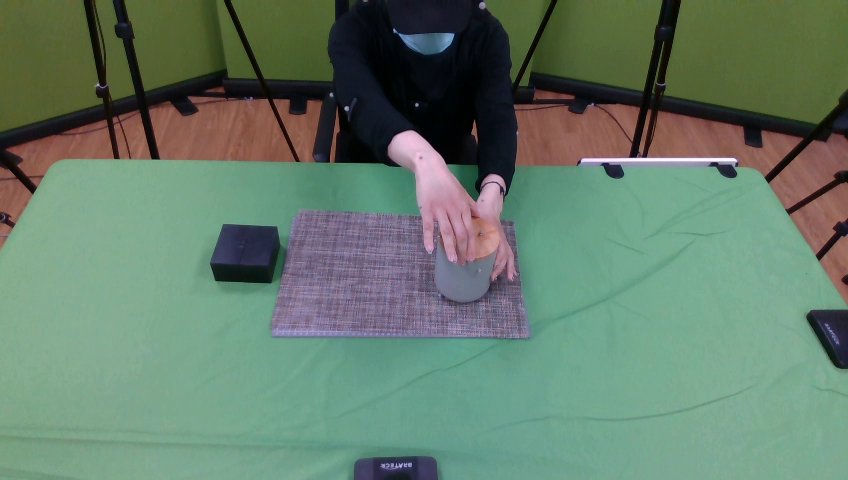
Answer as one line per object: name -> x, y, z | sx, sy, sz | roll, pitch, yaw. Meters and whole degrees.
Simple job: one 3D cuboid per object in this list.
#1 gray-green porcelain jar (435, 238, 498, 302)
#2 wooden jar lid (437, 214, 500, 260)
gray-green porcelain jar -> 0.073, 0.041, 1.083 | 0.106, 0.127, 0.105 | 2, 46, -2
wooden jar lid -> 0.076, -0.002, 1.039 | 0.108, 0.021, 0.107 | 2, 44, -1
